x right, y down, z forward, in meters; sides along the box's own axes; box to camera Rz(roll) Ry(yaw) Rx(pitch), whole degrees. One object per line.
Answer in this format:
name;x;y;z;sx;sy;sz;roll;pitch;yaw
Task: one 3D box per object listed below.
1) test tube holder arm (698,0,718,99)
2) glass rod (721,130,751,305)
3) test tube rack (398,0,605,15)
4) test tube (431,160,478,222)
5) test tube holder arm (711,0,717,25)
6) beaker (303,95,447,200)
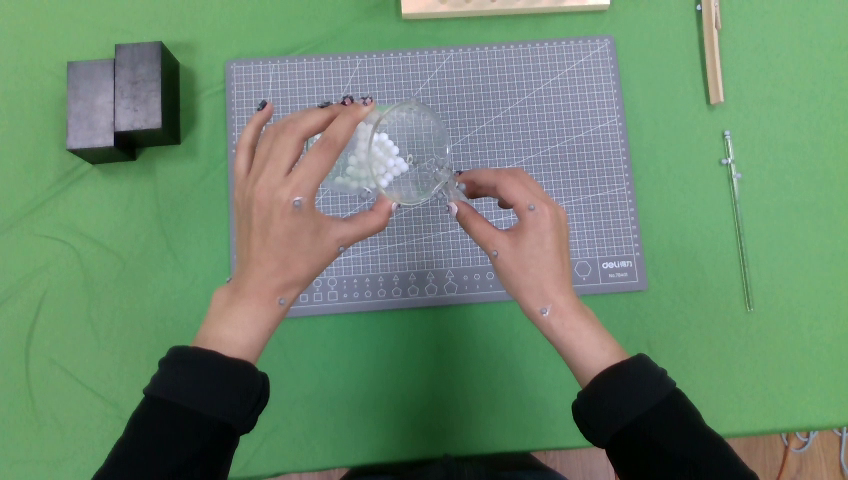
test tube holder arm;0.329;-0.250;0.702;0.013;0.015;0.177;7;80;-29
glass rod;0.346;-0.028;0.674;0.008;0.008;0.199;-3;81;-1
test tube rack;0.090;-0.310;0.678;0.242;0.085;0.066;-3;80;-1
test tube;0.030;-0.039;0.532;0.017;0.151;0.017;-3;78;13
test tube holder arm;0.335;-0.294;0.712;0.010;0.015;0.087;7;80;-29
beaker;-0.040;-0.071;0.468;0.085;0.099;0.074;22;85;-40
